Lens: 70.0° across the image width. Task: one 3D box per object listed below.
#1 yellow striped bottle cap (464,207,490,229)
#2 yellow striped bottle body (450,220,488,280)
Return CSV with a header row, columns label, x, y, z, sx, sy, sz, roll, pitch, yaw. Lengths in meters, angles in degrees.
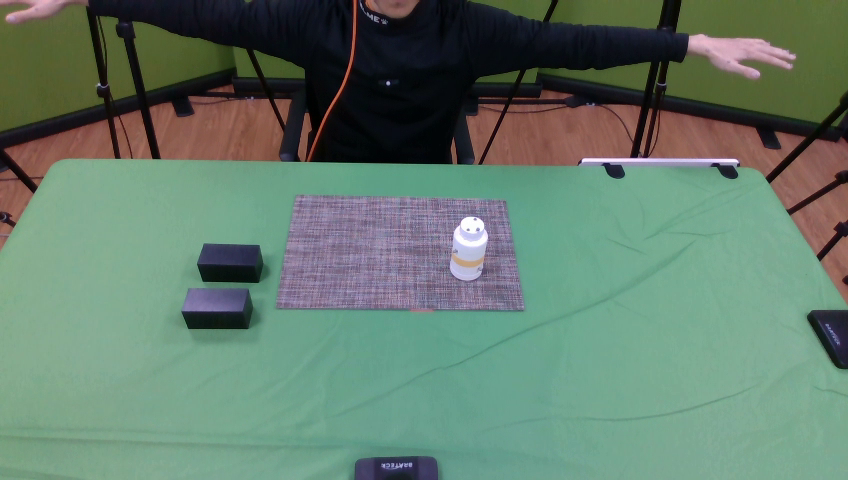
label,x,y,z,sx,sy,sz,roll,pitch,yaw
yellow striped bottle cap,0.092,-0.039,1.064,0.044,0.019,0.044,5,39,-4
yellow striped bottle body,0.083,0.012,1.117,0.063,0.121,0.062,2,46,-2
